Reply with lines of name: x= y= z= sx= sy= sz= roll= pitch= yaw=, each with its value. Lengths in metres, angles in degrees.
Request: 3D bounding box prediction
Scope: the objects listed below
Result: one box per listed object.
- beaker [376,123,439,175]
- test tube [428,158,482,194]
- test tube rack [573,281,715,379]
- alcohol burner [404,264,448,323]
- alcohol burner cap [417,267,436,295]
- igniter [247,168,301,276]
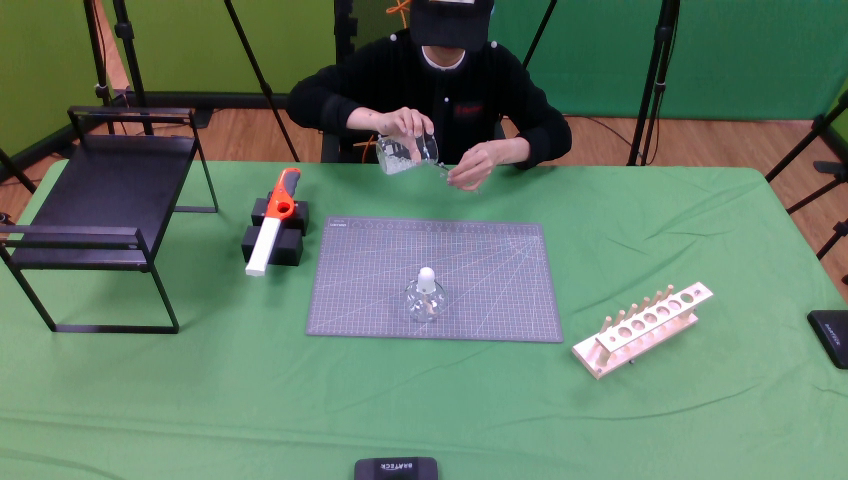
beaker: x=-0.032 y=-0.163 z=1.115 sx=0.100 sy=0.084 sz=0.073 roll=-18 pitch=41 yaw=-12
test tube: x=0.064 y=-0.124 z=1.199 sx=0.151 sy=0.017 sz=0.017 roll=26 pitch=30 yaw=-41
test tube rack: x=0.378 y=0.140 z=1.038 sx=0.242 sy=0.085 sz=0.066 roll=-22 pitch=51 yaw=-23
alcohol burner: x=0.003 y=0.087 z=1.042 sx=0.078 sy=0.120 sz=0.077 roll=1 pitch=45 yaw=0
alcohol burner cap: x=0.004 y=0.066 z=1.019 sx=0.034 sy=0.048 sz=0.033 roll=0 pitch=47 yaw=1
igniter: x=-0.282 y=-0.043 z=1.149 sx=0.057 sy=0.025 sz=0.275 roll=8 pitch=48 yaw=-1
